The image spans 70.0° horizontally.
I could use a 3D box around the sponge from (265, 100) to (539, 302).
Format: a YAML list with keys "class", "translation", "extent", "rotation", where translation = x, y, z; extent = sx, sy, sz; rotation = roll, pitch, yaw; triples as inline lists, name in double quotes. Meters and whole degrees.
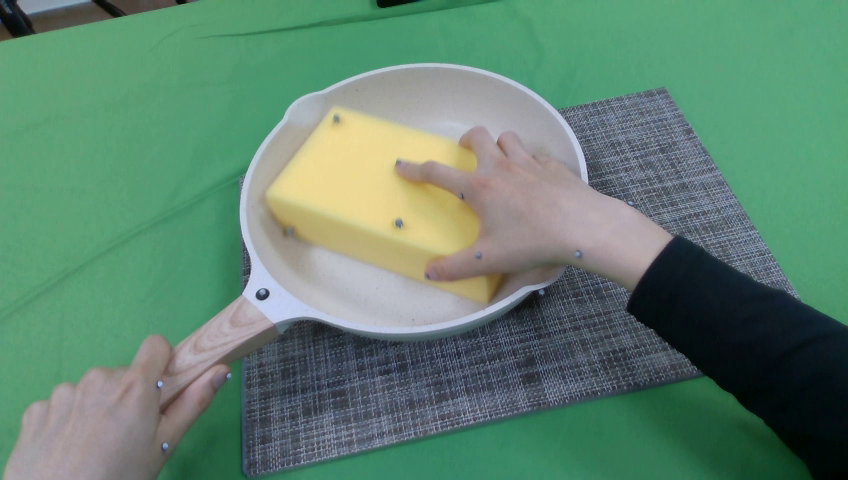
- class: "sponge"
  translation: [-0.017, -0.040, 0.536]
  extent: [0.206, 0.061, 0.117]
  rotation: [19, 61, 18]

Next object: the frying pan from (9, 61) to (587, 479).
- class: "frying pan"
  translation: [-0.082, 0.018, 0.484]
  extent: [0.304, 0.103, 0.487]
  rotation: [37, 58, 27]
